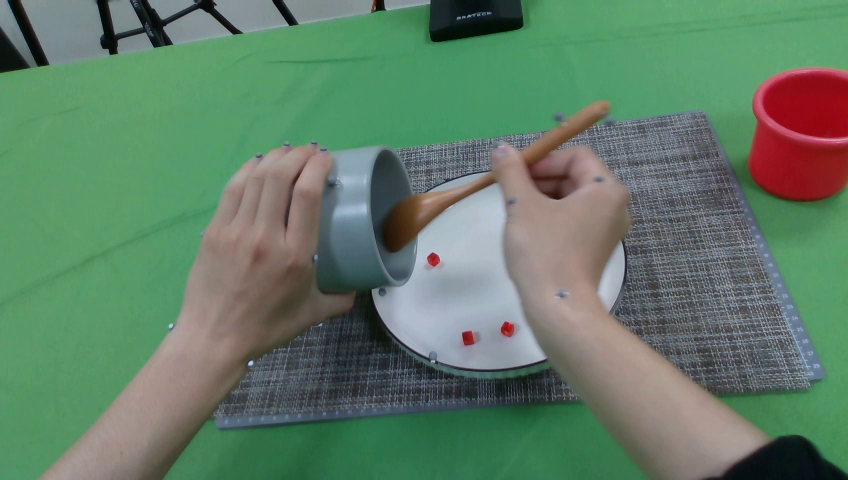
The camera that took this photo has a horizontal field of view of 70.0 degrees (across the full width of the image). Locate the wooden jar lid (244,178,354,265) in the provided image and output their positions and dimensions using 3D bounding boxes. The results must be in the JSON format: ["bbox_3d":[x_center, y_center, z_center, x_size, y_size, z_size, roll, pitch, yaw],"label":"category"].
[{"bbox_3d":[-0.120,-0.017,0.590,0.108,0.021,0.107,-6,48,7],"label":"wooden jar lid"}]

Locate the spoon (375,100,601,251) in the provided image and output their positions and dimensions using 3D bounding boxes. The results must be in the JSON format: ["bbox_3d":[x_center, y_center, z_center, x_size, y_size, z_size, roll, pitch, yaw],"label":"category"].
[{"bbox_3d":[0.034,-0.043,0.416,0.193,0.022,0.041,-27,53,28],"label":"spoon"}]

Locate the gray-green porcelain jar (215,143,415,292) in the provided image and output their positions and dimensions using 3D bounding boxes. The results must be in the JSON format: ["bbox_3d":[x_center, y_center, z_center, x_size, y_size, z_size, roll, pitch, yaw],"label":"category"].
[{"bbox_3d":[-0.082,-0.014,0.459,0.126,0.107,0.105,-4,49,15],"label":"gray-green porcelain jar"}]

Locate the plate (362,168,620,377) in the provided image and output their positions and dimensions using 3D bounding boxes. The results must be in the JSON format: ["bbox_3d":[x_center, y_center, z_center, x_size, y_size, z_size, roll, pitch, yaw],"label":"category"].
[{"bbox_3d":[0.054,0.024,0.501,0.207,0.039,0.205,-6,49,8],"label":"plate"}]
